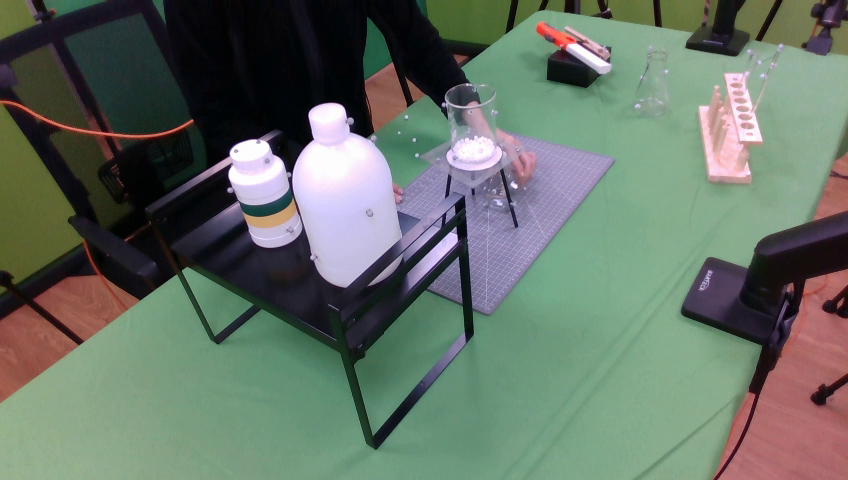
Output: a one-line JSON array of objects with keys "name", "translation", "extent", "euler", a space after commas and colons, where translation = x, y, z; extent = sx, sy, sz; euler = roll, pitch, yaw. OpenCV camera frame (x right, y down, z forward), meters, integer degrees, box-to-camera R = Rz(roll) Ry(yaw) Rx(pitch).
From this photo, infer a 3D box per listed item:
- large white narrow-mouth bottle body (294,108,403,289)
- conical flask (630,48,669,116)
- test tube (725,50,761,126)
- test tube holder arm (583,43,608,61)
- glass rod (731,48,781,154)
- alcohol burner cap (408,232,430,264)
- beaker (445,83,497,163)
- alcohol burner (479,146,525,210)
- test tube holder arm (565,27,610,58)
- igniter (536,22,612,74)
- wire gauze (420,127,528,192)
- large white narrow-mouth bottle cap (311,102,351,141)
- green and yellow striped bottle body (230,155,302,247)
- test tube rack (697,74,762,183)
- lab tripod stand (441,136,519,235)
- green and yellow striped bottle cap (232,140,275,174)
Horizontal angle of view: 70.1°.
[{"name": "large white narrow-mouth bottle body", "translation": [-0.082, -0.047, 0.634], "extent": [0.102, 0.195, 0.101], "euler": [-4, 40, 4]}, {"name": "conical flask", "translation": [0.456, -0.317, 1.205], "extent": [0.075, 0.122, 0.075], "euler": [-4, 41, 4]}, {"name": "test tube", "translation": [0.570, -0.269, 1.086], "extent": [0.017, 0.151, 0.017], "euler": [-1, 45, 2]}, {"name": "test tube holder arm", "translation": [0.379, -0.420, 1.341], "extent": [0.010, 0.015, 0.087], "euler": [-39, 41, 10]}, {"name": "glass rod", "translation": [0.554, -0.228, 1.014], "extent": [0.008, 0.200, 0.008], "euler": [1, 44, 0]}, {"name": "alcohol burner cap", "translation": [-0.010, 0.010, 0.947], "extent": [0.034, 0.048, 0.033], "euler": [-5, 40, 4]}, {"name": "beaker", "translation": [0.073, -0.175, 0.904], "extent": [0.074, 0.101, 0.084], "euler": [3, 41, 13]}, {"name": "alcohol burner", "translation": [0.130, -0.109, 1.011], "extent": [0.078, 0.119, 0.077], "euler": [-4, 43, 4]}, {"name": "test tube holder arm", "translation": [0.369, -0.450, 1.373], "extent": [0.013, 0.015, 0.177], "euler": [-40, 41, 10]}, {"name": "igniter", "translation": [0.330, -0.439, 1.366], "extent": [0.057, 0.025, 0.274], "euler": [-11, 41, -20]}, {"name": "wire gauze", "translation": [0.076, -0.131, 0.927], "extent": [0.122, 0.011, 0.124], "euler": [-34, 49, -25]}, {"name": "large white narrow-mouth bottle cap", "translation": [-0.089, -0.113, 0.579], "extent": [0.038, 0.024, 0.037], "euler": [-3, 40, 3]}, {"name": "green and yellow striped bottle body", "translation": [-0.188, -0.055, 0.714], "extent": [0.063, 0.120, 0.063], "euler": [-4, 41, 4]}, {"name": "test tube rack", "translation": [0.547, -0.208, 1.095], "extent": [0.066, 0.085, 0.242], "euler": [6, 42, 14]}, {"name": "lab tripod stand", "translation": [0.083, -0.086, 0.976], "extent": [0.148, 0.132, 0.147], "euler": [-4, 42, 4]}, {"name": "green and yellow striped bottle cap", "translation": [-0.192, -0.094, 0.680], "extent": [0.045, 0.020, 0.045], "euler": [-5, 39, 5]}]
